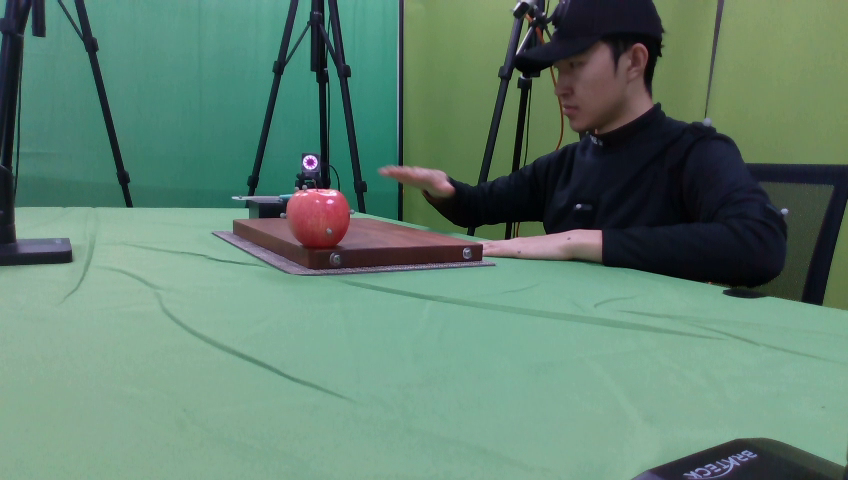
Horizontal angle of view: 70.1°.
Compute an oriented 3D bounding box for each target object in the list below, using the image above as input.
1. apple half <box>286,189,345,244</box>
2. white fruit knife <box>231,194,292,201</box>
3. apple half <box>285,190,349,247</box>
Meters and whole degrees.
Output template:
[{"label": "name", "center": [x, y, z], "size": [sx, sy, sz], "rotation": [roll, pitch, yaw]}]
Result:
[{"label": "apple half", "center": [-0.146, -0.032, 0.801], "size": [0.081, 0.081, 0.032], "rotation": [0, 11, -22]}, {"label": "white fruit knife", "center": [-0.299, -0.089, 1.283], "size": [0.208, 0.016, 0.027], "rotation": [-2, -15, -17]}, {"label": "apple half", "center": [-0.132, -0.026, 0.765], "size": [0.081, 0.074, 0.053], "rotation": [2, 10, -22]}]
